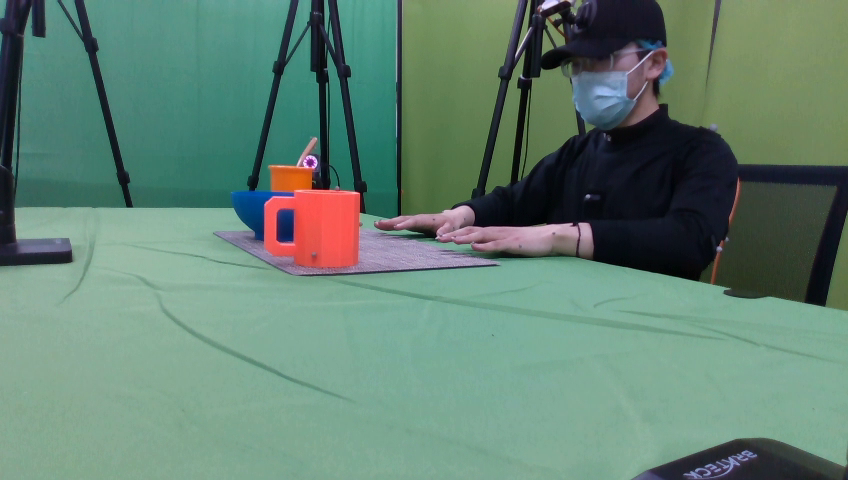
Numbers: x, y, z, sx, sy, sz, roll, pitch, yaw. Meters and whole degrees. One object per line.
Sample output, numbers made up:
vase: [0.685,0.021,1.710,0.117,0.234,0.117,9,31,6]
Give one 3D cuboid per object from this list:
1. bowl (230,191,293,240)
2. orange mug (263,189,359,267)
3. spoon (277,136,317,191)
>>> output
bowl: [-0.249,-0.042,1.023,0.151,0.077,0.151,2,7,0]
orange mug: [-0.147,-0.019,0.795,0.127,0.100,0.083,4,6,-19]
spoon: [-0.258,-0.152,1.247,0.041,0.193,0.022,2,-37,21]
